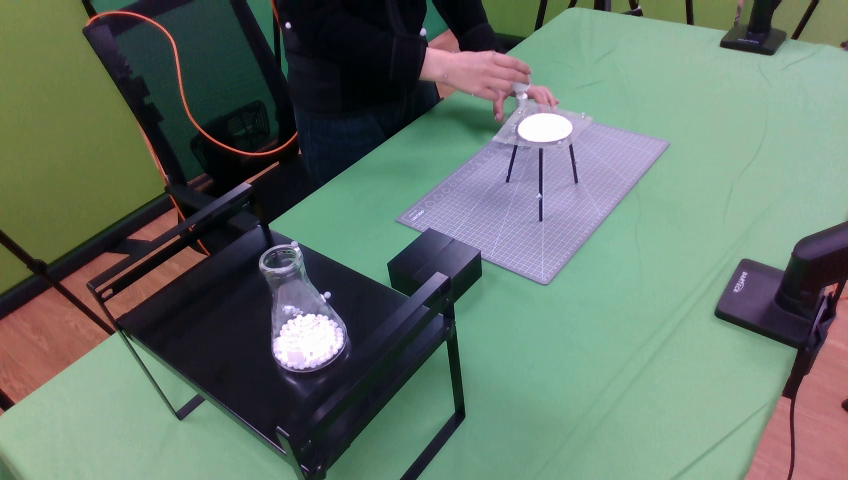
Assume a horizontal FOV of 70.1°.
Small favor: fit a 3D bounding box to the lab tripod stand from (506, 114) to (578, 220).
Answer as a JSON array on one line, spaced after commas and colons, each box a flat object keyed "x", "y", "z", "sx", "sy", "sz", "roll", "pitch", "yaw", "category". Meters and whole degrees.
[{"x": 0.198, "y": -0.128, "z": 1.005, "sx": 0.148, "sy": 0.132, "sz": 0.147, "roll": -3, "pitch": 42, "yaw": 3, "category": "lab tripod stand"}]

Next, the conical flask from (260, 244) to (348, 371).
[{"x": -0.118, "y": 0.060, "z": 0.565, "sx": 0.075, "sy": 0.122, "sz": 0.075, "roll": -5, "pitch": 41, "yaw": 4, "category": "conical flask"}]

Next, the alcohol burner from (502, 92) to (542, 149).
[{"x": 0.186, "y": -0.235, "z": 1.149, "sx": 0.078, "sy": 0.119, "sz": 0.077, "roll": -5, "pitch": 43, "yaw": 5, "category": "alcohol burner"}]

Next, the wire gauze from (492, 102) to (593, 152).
[{"x": 0.190, "y": -0.180, "z": 0.964, "sx": 0.120, "sy": 0.011, "sz": 0.125, "roll": 19, "pitch": 48, "yaw": 27, "category": "wire gauze"}]

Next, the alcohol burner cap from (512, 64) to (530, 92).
[{"x": 0.175, "y": -0.293, "z": 1.086, "sx": 0.034, "sy": 0.048, "sz": 0.033, "roll": -4, "pitch": 47, "yaw": 5, "category": "alcohol burner cap"}]
